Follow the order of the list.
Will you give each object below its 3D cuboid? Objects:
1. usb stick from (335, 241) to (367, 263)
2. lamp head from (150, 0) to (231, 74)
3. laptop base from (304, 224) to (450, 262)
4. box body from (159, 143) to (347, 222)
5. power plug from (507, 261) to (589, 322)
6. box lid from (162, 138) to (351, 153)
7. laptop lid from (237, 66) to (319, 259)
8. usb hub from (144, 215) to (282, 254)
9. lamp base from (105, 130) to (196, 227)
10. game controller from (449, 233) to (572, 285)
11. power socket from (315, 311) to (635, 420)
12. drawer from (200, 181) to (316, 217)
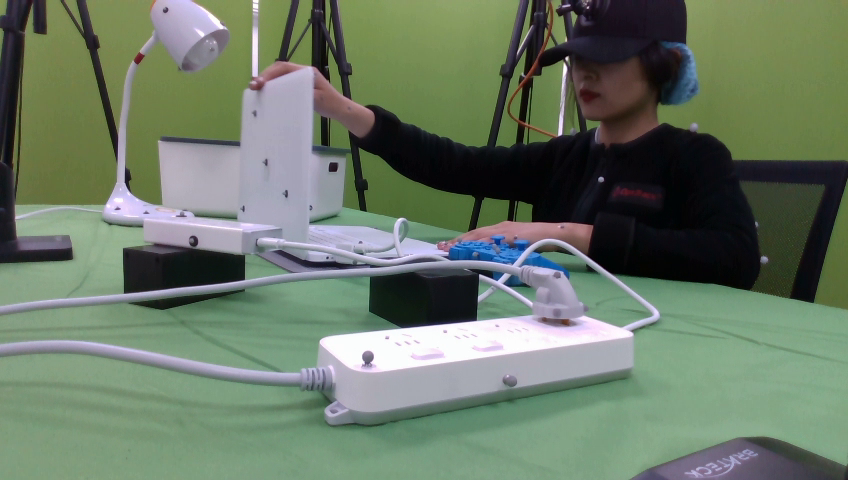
[{"bbox_3d":[-0.093,0.015,0.742,0.021,0.027,0.059,-3,0,-34],"label":"usb stick"},{"bbox_3d":[-0.432,-0.374,1.086,0.123,0.112,0.112,42,8,-2],"label":"lamp head"},{"bbox_3d":[-0.126,0.003,0.946,0.237,0.023,0.352,2,6,-31],"label":"laptop base"},{"bbox_3d":[-0.384,-0.137,1.406,0.364,0.160,0.254,3,8,7],"label":"box body"},{"bbox_3d":[0.091,0.043,0.444,0.035,0.052,0.072,-1,5,-18],"label":"power plug"},{"bbox_3d":[-0.371,-0.215,1.394,0.371,0.015,0.263,4,8,7],"label":"box lid"},{"bbox_3d":[-0.222,-0.113,0.871,0.013,0.241,0.355,2,8,-30],"label":"laptop lid"},{"bbox_3d":[-0.200,-0.006,0.573,0.125,0.025,0.050,6,7,23],"label":"usb hub"},{"bbox_3d":[-0.532,-0.120,1.153,0.179,0.180,0.161,1,7,8],"label":"lamp base"},{"bbox_3d":[0.101,0.021,0.760,0.097,0.051,0.154,-7,10,-30],"label":"game controller"},{"bbox_3d":[0.039,0.072,0.385,0.228,0.032,0.072,-2,7,-29],"label":"power socket"},{"bbox_3d":[-0.372,-0.097,1.393,0.212,0.073,0.194,1,9,6],"label":"drawer"}]
